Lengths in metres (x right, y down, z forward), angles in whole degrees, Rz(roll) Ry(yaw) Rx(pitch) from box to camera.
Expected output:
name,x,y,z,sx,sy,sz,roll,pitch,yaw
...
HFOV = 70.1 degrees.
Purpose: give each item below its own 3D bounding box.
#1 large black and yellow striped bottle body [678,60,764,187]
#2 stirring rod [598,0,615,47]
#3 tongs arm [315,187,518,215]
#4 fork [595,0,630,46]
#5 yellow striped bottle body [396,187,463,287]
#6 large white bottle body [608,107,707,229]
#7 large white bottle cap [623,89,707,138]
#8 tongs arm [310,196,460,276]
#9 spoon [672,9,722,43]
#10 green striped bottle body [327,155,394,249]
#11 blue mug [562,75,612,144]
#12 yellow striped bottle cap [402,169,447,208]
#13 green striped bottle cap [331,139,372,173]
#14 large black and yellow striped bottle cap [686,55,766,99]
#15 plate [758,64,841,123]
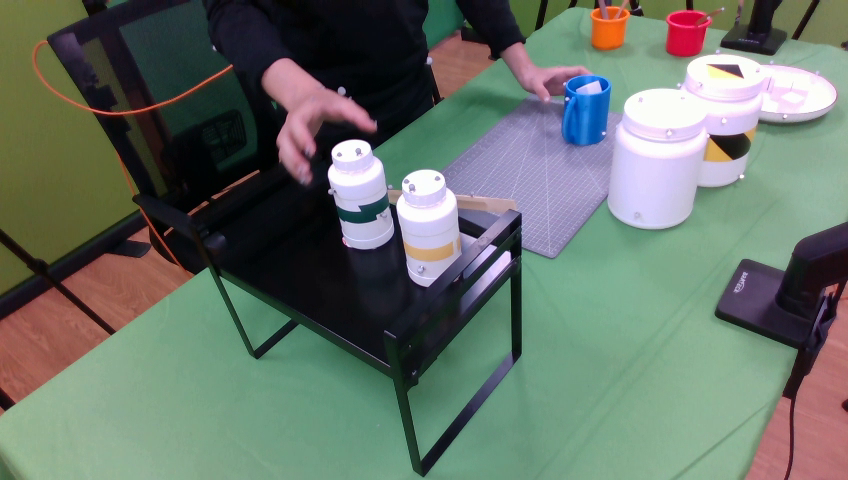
name,x,y,z,sx,sy,sz,roll,pitch,yaw
large black and yellow striped bottle body,0.482,-0.196,1.008,0.131,0.185,0.130,-4,41,4
stirring rod,0.437,-0.551,1.462,0.014,0.006,0.175,-11,83,1
tongs arm,-0.028,-0.059,0.988,0.382,0.027,0.051,9,45,36
fork,0.480,-0.556,1.453,0.028,0.019,0.207,41,103,40
yellow striped bottle body,0.006,-0.013,0.638,0.063,0.121,0.062,-5,41,4
large white bottle body,0.361,-0.124,0.942,0.130,0.185,0.130,-5,41,4
large white bottle cap,0.352,-0.187,0.886,0.115,0.018,0.114,-4,41,4
tongs arm,-0.078,-0.012,0.944,0.028,0.028,0.384,-43,39,-22
spoon,0.606,-0.476,1.345,0.042,0.021,0.193,-6,-3,-2
green striped bottle body,-0.073,-0.053,0.699,0.063,0.120,0.063,-4,41,4
blue mug,0.298,-0.239,1.143,0.081,0.106,0.117,30,54,36
yellow striped bottle cap,0.000,-0.052,0.605,0.044,0.019,0.044,-5,42,5
green striped bottle cap,-0.080,-0.092,0.666,0.044,0.020,0.044,-4,41,4
large black and yellow striped bottle cap,0.474,-0.258,0.952,0.115,0.019,0.114,-5,41,5
plate,0.695,-0.283,1.189,0.207,0.039,0.206,-4,40,4
